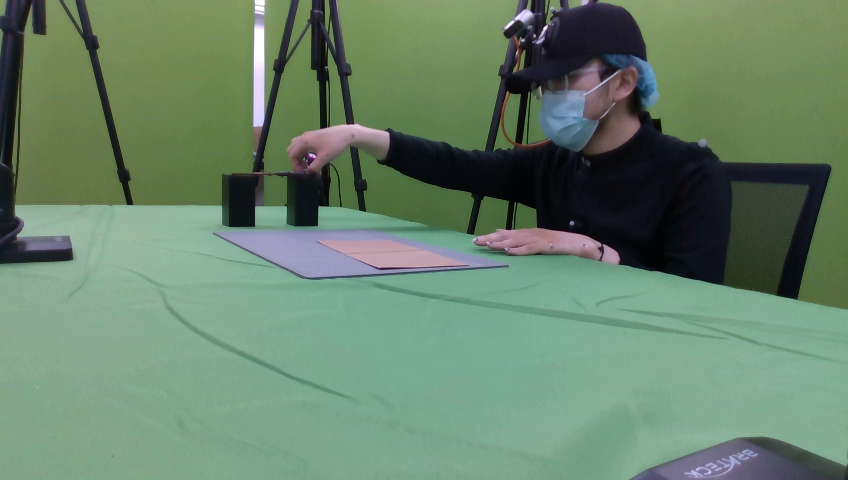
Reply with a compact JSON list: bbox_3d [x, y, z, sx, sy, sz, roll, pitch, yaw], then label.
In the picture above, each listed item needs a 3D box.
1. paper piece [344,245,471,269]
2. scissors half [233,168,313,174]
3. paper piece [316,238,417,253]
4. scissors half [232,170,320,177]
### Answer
[{"bbox_3d":[-0.027,0.024,0.847,0.137,0.008,0.137,-5,11,-26],"label":"paper piece"},{"bbox_3d":[-0.305,-0.138,1.228,0.176,0.013,0.040,-8,21,-43],"label":"scissors half"},{"bbox_3d":[-0.088,0.006,0.964,0.136,0.004,0.135,-3,8,-27],"label":"paper piece"},{"bbox_3d":[-0.293,-0.133,1.213,0.176,0.013,0.040,-2,12,-26],"label":"scissors half"}]
